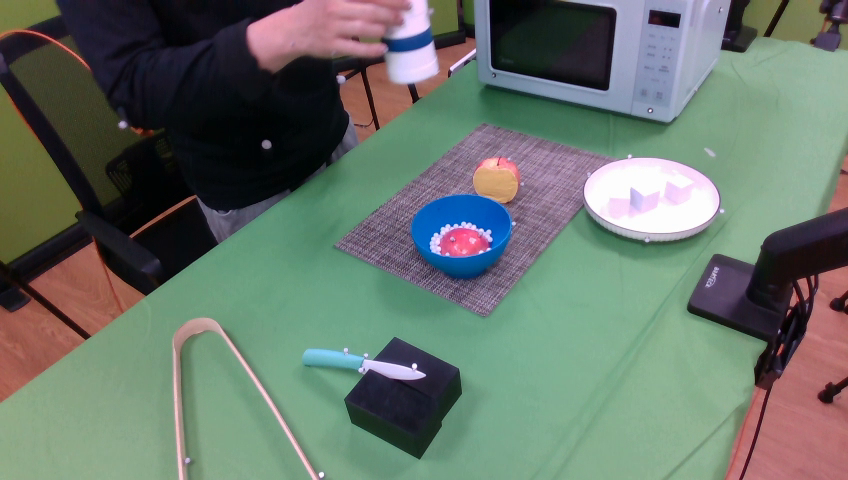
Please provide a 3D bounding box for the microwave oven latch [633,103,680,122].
[{"bbox_3d":[0.444,-0.249,1.157,0.078,0.029,0.030,21,48,30],"label":"microwave oven latch"}]

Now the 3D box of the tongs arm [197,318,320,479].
[{"bbox_3d":[-0.200,0.207,0.751,0.028,0.028,0.384,-31,45,-22],"label":"tongs arm"}]

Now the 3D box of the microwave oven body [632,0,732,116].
[{"bbox_3d":[0.377,-0.462,1.267,0.438,0.261,0.327,21,48,30],"label":"microwave oven body"}]

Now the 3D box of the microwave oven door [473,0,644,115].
[{"bbox_3d":[0.257,-0.396,1.199,0.353,0.245,0.039,21,48,29],"label":"microwave oven door"}]

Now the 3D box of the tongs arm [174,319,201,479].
[{"bbox_3d":[-0.272,0.234,0.723,0.051,0.026,0.381,-19,40,-15],"label":"tongs arm"}]

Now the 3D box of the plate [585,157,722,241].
[{"bbox_3d":[0.367,-0.063,0.979,0.207,0.039,0.206,-4,40,4],"label":"plate"}]

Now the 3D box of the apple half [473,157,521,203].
[{"bbox_3d":[0.128,-0.107,1.030,0.080,0.075,0.053,5,38,20],"label":"apple half"}]

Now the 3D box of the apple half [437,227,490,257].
[{"bbox_3d":[0.056,0.001,0.902,0.081,0.033,0.081,-3,42,3],"label":"apple half"}]

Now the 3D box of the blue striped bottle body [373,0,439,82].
[{"bbox_3d":[-0.023,-0.254,0.709,0.063,0.121,0.063,-8,35,6],"label":"blue striped bottle body"}]

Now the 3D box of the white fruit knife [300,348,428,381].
[{"bbox_3d":[-0.080,0.154,0.748,0.206,0.027,0.016,0,20,34],"label":"white fruit knife"}]

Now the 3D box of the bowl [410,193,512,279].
[{"bbox_3d":[0.058,0.005,0.905,0.151,0.077,0.150,-4,40,4],"label":"bowl"}]
